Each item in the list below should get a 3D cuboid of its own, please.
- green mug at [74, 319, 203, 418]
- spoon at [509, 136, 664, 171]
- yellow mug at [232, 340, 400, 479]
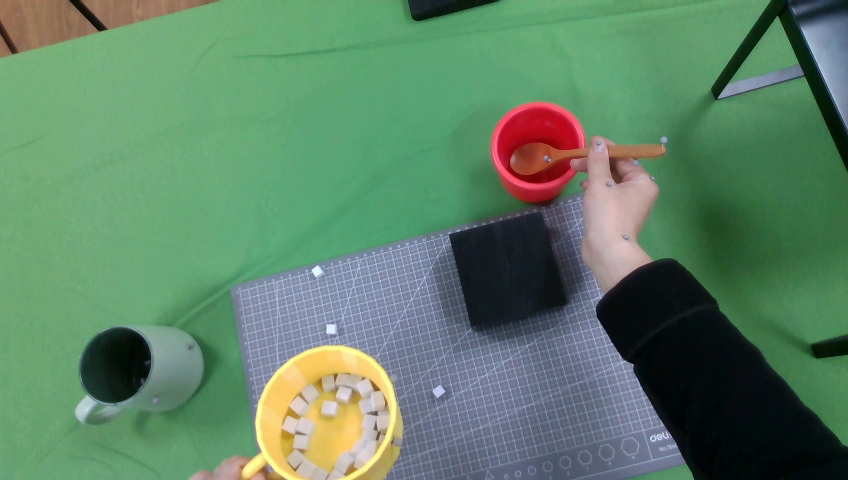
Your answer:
[{"bbox_3d":[-0.308,0.139,0.639,0.092,0.105,0.125,43,85,13],"label":"green mug"},{"bbox_3d":[0.154,-0.090,0.611,0.022,0.192,0.041,26,81,-31],"label":"spoon"},{"bbox_3d":[-0.082,0.141,0.450,0.131,0.064,0.099,-34,65,-15],"label":"yellow mug"}]
